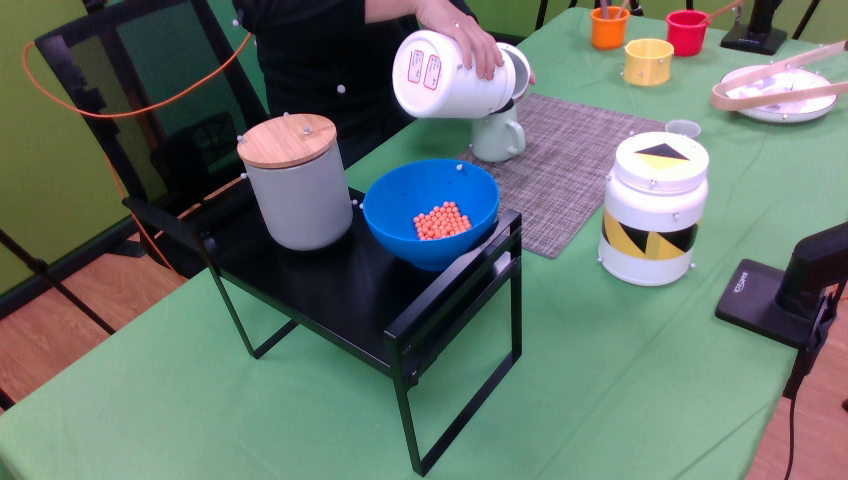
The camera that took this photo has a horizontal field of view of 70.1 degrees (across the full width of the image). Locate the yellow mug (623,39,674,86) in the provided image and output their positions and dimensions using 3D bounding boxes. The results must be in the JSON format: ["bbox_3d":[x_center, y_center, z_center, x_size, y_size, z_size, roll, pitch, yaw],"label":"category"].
[{"bbox_3d":[0.485,-0.398,1.334,0.100,0.064,0.130,-18,40,-11],"label":"yellow mug"}]

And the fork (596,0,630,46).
[{"bbox_3d":[0.481,-0.556,1.453,0.028,0.019,0.207,40,103,38],"label":"fork"}]

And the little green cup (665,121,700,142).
[{"bbox_3d":[0.472,-0.188,1.113,0.061,0.039,0.061,-5,40,4],"label":"little green cup"}]

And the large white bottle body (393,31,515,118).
[{"bbox_3d":[0.055,-0.269,1.002,0.186,0.130,0.129,-11,33,-45],"label":"large white bottle body"}]

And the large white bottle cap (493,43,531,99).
[{"bbox_3d":[0.142,-0.312,1.128,0.114,0.115,0.018,8,50,18],"label":"large white bottle cap"}]

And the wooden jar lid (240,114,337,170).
[{"bbox_3d":[-0.149,-0.106,0.673,0.108,0.021,0.108,-6,39,5],"label":"wooden jar lid"}]

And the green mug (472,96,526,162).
[{"bbox_3d":[0.144,-0.202,1.122,0.093,0.105,0.124,-29,45,-23],"label":"green mug"}]

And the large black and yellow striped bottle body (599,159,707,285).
[{"bbox_3d":[0.320,-0.042,0.854,0.131,0.185,0.130,-4,41,4],"label":"large black and yellow striped bottle body"}]

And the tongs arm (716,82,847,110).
[{"bbox_3d":[0.738,-0.282,1.134,0.388,0.028,0.028,-9,46,-5],"label":"tongs arm"}]

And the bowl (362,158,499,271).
[{"bbox_3d":[0.011,-0.019,0.679,0.151,0.077,0.150,-5,41,5],"label":"bowl"}]

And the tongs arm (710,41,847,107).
[{"bbox_3d":[0.712,-0.332,1.194,0.386,0.026,0.050,-18,44,-16],"label":"tongs arm"}]

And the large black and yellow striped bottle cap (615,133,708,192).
[{"bbox_3d":[0.312,-0.105,0.798,0.115,0.019,0.114,-5,41,5],"label":"large black and yellow striped bottle cap"}]

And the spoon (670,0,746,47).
[{"bbox_3d":[0.629,-0.484,1.350,0.022,0.193,0.042,48,54,-7],"label":"spoon"}]

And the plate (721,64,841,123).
[{"bbox_3d":[0.695,-0.282,1.189,0.207,0.039,0.206,-4,40,4],"label":"plate"}]

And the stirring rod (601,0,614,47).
[{"bbox_3d":[0.439,-0.551,1.463,0.014,0.006,0.175,-7,83,3],"label":"stirring rod"}]

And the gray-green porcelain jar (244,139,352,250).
[{"bbox_3d":[-0.144,-0.060,0.714,0.106,0.127,0.105,-4,41,4],"label":"gray-green porcelain jar"}]
